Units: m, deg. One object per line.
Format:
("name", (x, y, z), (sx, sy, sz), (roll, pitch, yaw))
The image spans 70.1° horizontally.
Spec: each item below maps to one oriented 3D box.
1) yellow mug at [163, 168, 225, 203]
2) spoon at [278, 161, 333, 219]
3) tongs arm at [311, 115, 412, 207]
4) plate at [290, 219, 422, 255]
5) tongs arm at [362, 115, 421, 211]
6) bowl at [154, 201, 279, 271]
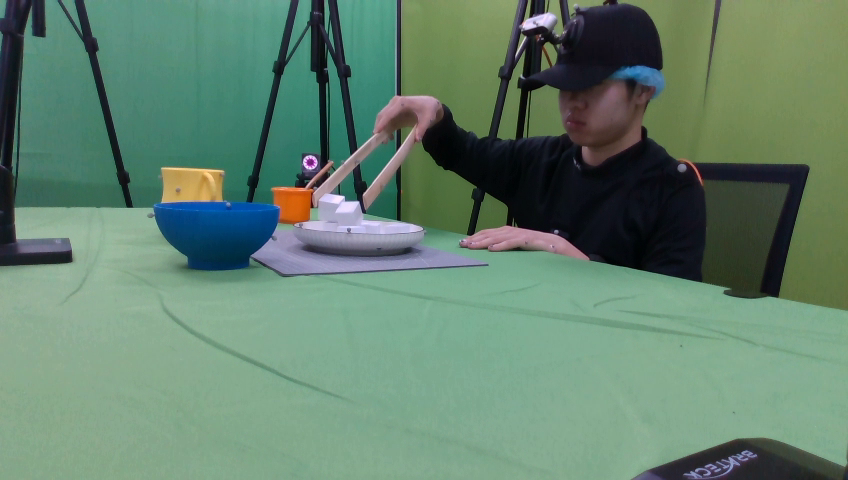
("yellow mug", (-0.383, -0.087, 1.026), (0.130, 0.064, 0.100), (11, 11, 44))
("spoon", (-0.262, -0.115, 1.359), (0.041, 0.194, 0.022), (12, -33, 38))
("tongs arm", (-0.099, -0.153, 1.089), (0.050, 0.026, 0.385), (3, 30, 16))
("plate", (-0.108, -0.005, 0.963), (0.208, 0.039, 0.207), (3, 7, 0))
("tongs arm", (-0.052, -0.149, 1.076), (0.028, 0.028, 0.387), (-2, 29, 15))
("bowl", (-0.263, -0.005, 0.773), (0.151, 0.077, 0.151), (3, 8, 0))
